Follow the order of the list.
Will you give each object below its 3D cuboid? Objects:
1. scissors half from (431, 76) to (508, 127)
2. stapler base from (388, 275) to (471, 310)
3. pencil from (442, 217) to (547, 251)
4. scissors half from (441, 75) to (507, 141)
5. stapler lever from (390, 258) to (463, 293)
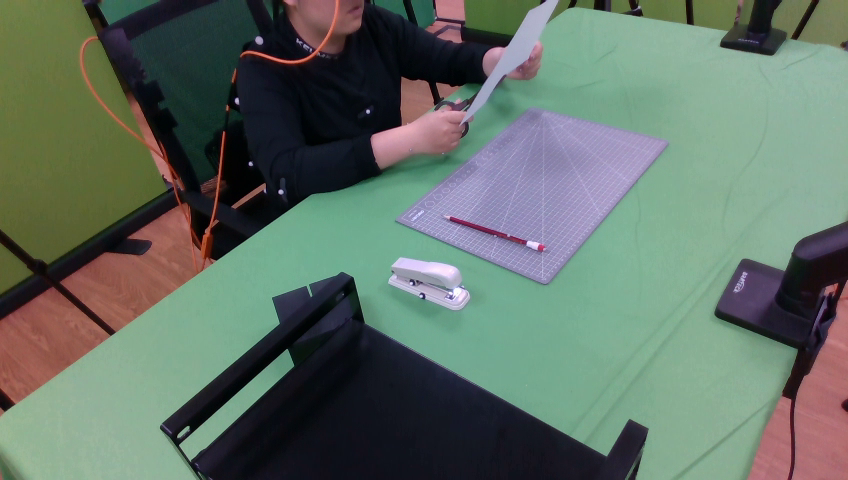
[{"bbox_3d":[0.082,-0.260,1.118,0.174,0.040,0.013,-23,13,31],"label":"scissors half"},{"bbox_3d":[0.007,0.066,0.897,0.129,0.024,0.041,17,44,29],"label":"stapler base"},{"bbox_3d":[0.110,-0.012,0.979,0.192,0.012,0.012,18,46,30],"label":"pencil"},{"bbox_3d":[0.094,-0.243,1.121,0.040,0.174,0.013,42,35,-5],"label":"scissors half"},{"bbox_3d":[0.003,0.046,0.881,0.117,0.040,0.027,17,44,29],"label":"stapler lever"}]
